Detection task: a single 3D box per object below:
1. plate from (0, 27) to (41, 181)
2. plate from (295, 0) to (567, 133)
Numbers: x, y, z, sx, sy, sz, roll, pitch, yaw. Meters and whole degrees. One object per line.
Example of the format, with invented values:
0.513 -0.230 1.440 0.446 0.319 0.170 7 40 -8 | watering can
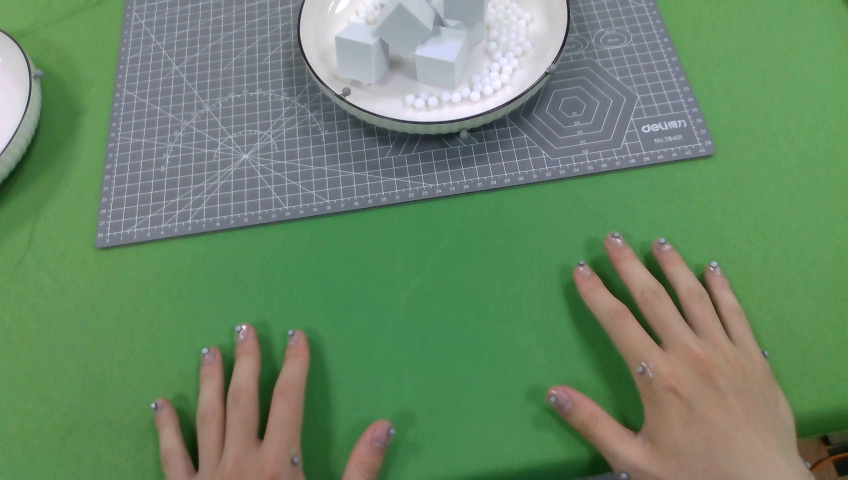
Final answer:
-0.398 -0.086 0.474 0.207 0.039 0.206 -2 65 4 | plate
0.005 -0.167 0.477 0.209 0.038 0.207 -2 65 4 | plate
